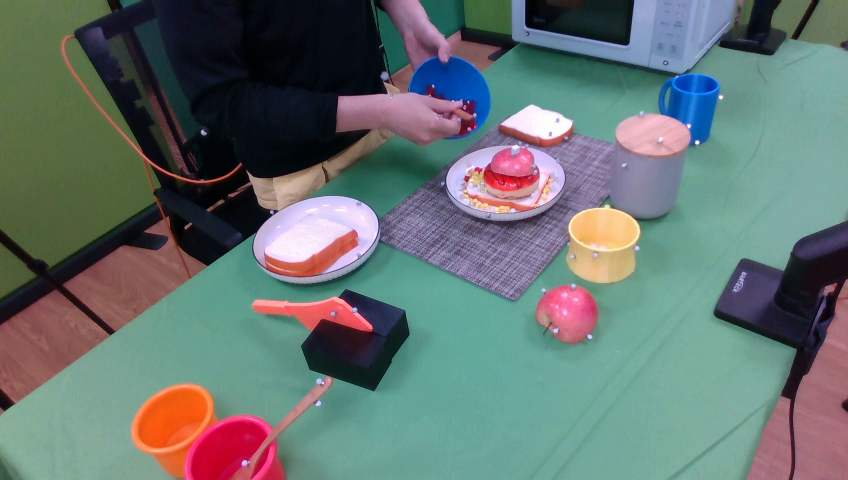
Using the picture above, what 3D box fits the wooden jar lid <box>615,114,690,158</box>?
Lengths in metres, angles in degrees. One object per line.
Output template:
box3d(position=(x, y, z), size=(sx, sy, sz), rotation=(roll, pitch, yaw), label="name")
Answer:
box3d(position=(0.347, -0.155, 0.923), size=(0.108, 0.021, 0.108), rotation=(-3, 44, 4), label="wooden jar lid")

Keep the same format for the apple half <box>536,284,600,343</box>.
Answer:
box3d(position=(0.196, 0.091, 0.815), size=(0.075, 0.053, 0.080), rotation=(-22, 42, -20), label="apple half")

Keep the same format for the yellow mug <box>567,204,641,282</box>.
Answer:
box3d(position=(0.268, -0.005, 0.905), size=(0.099, 0.064, 0.130), rotation=(6, 42, 16), label="yellow mug")

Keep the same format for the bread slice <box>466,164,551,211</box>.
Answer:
box3d(position=(0.141, -0.092, 1.042), size=(0.133, 0.018, 0.107), rotation=(11, 43, 19), label="bread slice")

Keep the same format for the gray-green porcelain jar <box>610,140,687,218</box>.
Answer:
box3d(position=(0.354, -0.106, 0.964), size=(0.106, 0.127, 0.105), rotation=(-4, 41, 4), label="gray-green porcelain jar")

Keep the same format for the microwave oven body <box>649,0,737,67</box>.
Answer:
box3d(position=(0.475, -0.602, 1.411), size=(0.438, 0.261, 0.327), rotation=(23, 50, 32), label="microwave oven body")

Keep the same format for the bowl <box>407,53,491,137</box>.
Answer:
box3d(position=(0.037, -0.247, 1.081), size=(0.152, 0.076, 0.151), rotation=(2, 81, -14), label="bowl")

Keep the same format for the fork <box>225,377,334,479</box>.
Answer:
box3d(position=(-0.163, 0.216, 0.646), size=(0.207, 0.019, 0.028), rotation=(-49, 42, 16), label="fork")

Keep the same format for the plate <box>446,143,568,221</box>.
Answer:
box3d(position=(0.142, -0.097, 1.045), size=(0.207, 0.039, 0.206), rotation=(-4, 40, 4), label="plate")

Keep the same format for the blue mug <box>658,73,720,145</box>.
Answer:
box3d(position=(0.483, -0.250, 1.127), size=(0.082, 0.106, 0.115), rotation=(-26, 44, -19), label="blue mug")

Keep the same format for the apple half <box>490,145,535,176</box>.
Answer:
box3d(position=(0.147, -0.138, 0.994), size=(0.081, 0.033, 0.081), rotation=(1, 38, -1), label="apple half")

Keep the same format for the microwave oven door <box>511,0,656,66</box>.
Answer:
box3d(position=(0.350, -0.539, 1.348), size=(0.353, 0.245, 0.039), rotation=(24, 50, 31), label="microwave oven door")

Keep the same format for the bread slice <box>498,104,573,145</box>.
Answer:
box3d(position=(0.231, -0.231, 1.205), size=(0.105, 0.019, 0.130), rotation=(-36, 47, -28), label="bread slice")

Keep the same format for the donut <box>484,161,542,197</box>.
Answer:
box3d(position=(0.149, -0.109, 1.016), size=(0.099, 0.048, 0.098), rotation=(-4, 39, 4), label="donut")

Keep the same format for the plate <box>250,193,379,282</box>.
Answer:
box3d(position=(-0.174, -0.001, 0.984), size=(0.209, 0.038, 0.208), rotation=(-3, 40, 3), label="plate")

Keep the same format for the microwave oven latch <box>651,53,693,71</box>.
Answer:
box3d(position=(0.532, -0.387, 1.301), size=(0.078, 0.029, 0.030), rotation=(27, 52, 34), label="microwave oven latch")

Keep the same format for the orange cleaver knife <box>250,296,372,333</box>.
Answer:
box3d(position=(-0.158, 0.103, 0.828), size=(0.210, 0.078, 0.012), rotation=(-4, 43, 39), label="orange cleaver knife")

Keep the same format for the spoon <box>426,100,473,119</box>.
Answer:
box3d(position=(0.042, -0.219, 1.010), size=(0.042, 0.022, 0.192), rotation=(-12, 18, -12), label="spoon")
